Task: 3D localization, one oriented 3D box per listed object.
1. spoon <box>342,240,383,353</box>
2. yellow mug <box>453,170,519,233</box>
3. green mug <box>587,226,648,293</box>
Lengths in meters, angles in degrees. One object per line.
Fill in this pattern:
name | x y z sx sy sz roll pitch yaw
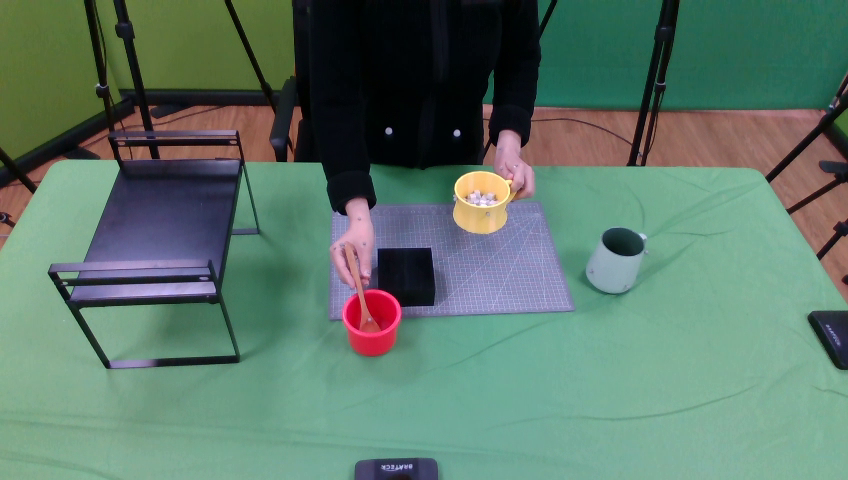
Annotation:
spoon | -0.106 0.094 1.014 0.042 0.021 0.193 -14 94 -13
yellow mug | 0.117 -0.076 1.093 0.131 0.064 0.099 -22 50 -22
green mug | 0.372 0.031 1.136 0.125 0.105 0.092 -27 53 -26
